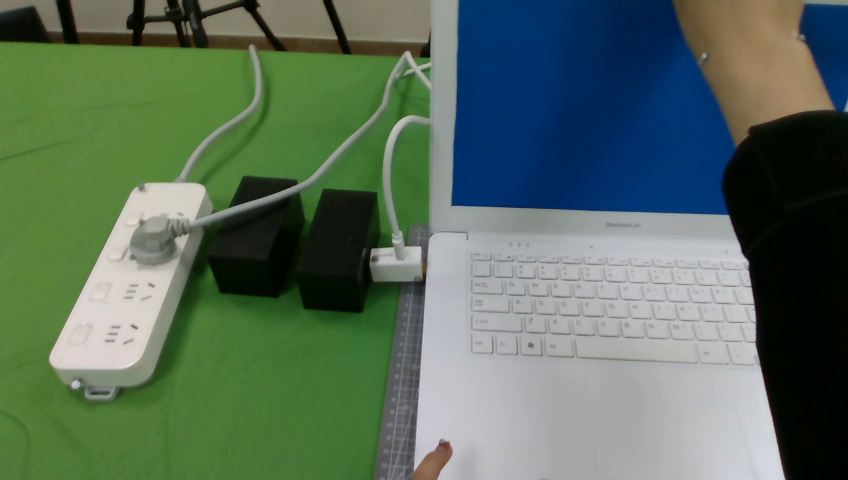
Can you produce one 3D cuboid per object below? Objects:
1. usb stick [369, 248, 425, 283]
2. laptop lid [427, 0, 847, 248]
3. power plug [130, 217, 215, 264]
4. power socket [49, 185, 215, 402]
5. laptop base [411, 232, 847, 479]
[{"bbox_3d":[-0.017,0.022,0.523,0.059,0.027,0.021,0,45,1],"label":"usb stick"},{"bbox_3d":[0.180,-0.097,0.496,0.357,0.243,0.013,1,30,2],"label":"laptop lid"},{"bbox_3d":[-0.211,0.008,0.509,0.072,0.053,0.035,9,47,8],"label":"power plug"},{"bbox_3d":[-0.241,0.031,0.520,0.072,0.033,0.224,2,46,0],"label":"power socket"},{"bbox_3d":[0.172,0.091,0.476,0.354,0.023,0.233,2,50,2],"label":"laptop base"}]
